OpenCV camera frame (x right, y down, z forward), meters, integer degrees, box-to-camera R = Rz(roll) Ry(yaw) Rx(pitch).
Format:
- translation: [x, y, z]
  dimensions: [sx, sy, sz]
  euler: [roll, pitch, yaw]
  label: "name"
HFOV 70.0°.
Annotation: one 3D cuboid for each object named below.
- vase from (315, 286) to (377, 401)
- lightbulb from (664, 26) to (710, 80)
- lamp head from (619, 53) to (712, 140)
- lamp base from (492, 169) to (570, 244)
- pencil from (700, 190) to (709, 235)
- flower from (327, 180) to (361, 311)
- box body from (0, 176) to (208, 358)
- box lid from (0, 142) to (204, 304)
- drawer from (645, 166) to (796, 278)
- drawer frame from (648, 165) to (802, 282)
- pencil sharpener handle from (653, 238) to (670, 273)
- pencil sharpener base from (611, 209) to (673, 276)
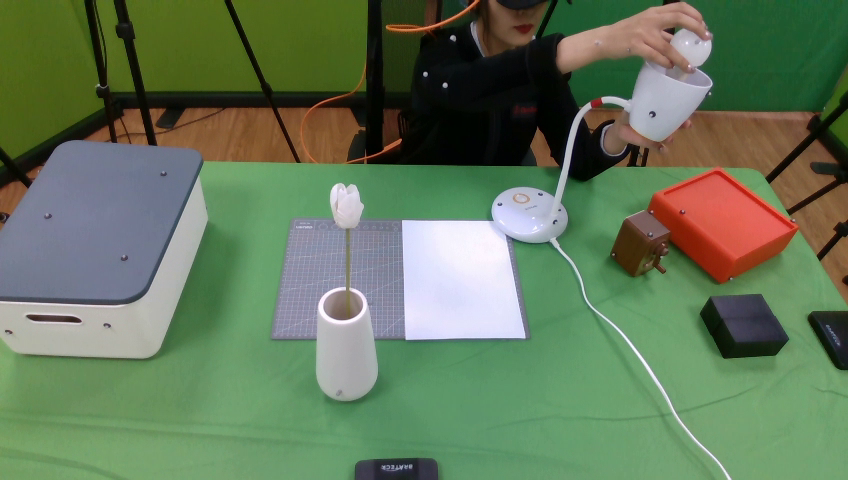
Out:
- translation: [-0.119, 0.159, 0.911]
  dimensions: [0.098, 0.201, 0.097]
  euler: [2, 47, -2]
  label: "vase"
- translation: [0.392, -0.273, 0.925]
  dimensions: [0.059, 0.108, 0.059]
  euler: [6, 50, -7]
  label: "lightbulb"
- translation: [0.378, -0.226, 0.978]
  dimensions: [0.112, 0.123, 0.111]
  euler: [14, 39, -11]
  label: "lamp head"
- translation: [0.234, -0.101, 1.199]
  dimensions: [0.161, 0.181, 0.178]
  euler: [-24, 56, -25]
  label: "lamp base"
- translation: [0.583, -0.058, 1.257]
  dimensions: [0.012, 0.012, 0.193]
  euler: [16, 35, 12]
  label: "pencil"
- translation: [-0.111, 0.086, 0.867]
  dimensions: [0.044, 0.363, 0.038]
  euler: [22, 33, 35]
  label: "flower"
- translation: [-0.546, 0.017, 1.045]
  dimensions: [0.254, 0.161, 0.361]
  euler: [2, 46, -2]
  label: "box body"
- translation: [-0.534, -0.044, 0.995]
  dimensions: [0.263, 0.015, 0.369]
  euler: [3, 45, -3]
  label: "box lid"
- translation: [0.600, -0.041, 1.236]
  dimensions: [0.195, 0.073, 0.210]
  euler: [-21, 51, -23]
  label: "drawer"
- translation: [0.603, -0.040, 1.234]
  dimensions: [0.202, 0.083, 0.212]
  euler: [-21, 51, -23]
  label: "drawer frame"
- translation: [0.444, 0.030, 1.120]
  dimensions: [0.036, 0.068, 0.030]
  euler: [-25, 52, -18]
  label: "pencil sharpener handle"
- translation: [0.416, 0.007, 1.158]
  dimensions: [0.061, 0.107, 0.076]
  euler: [-21, 51, -22]
  label: "pencil sharpener base"
